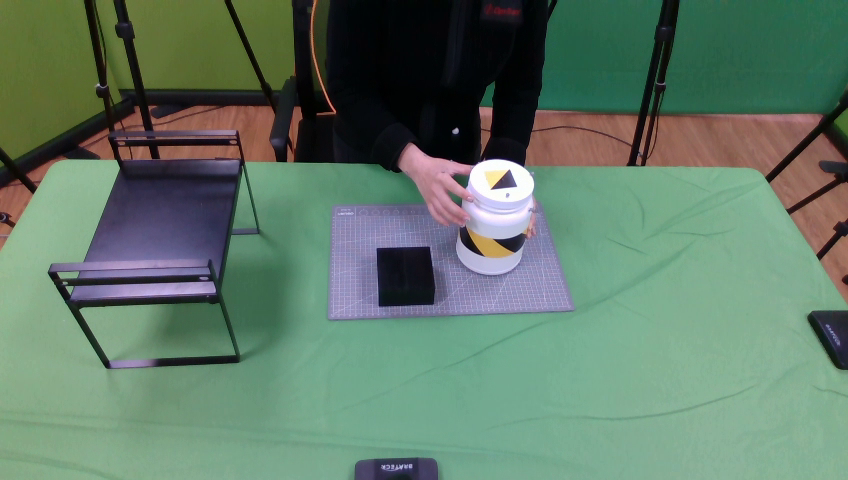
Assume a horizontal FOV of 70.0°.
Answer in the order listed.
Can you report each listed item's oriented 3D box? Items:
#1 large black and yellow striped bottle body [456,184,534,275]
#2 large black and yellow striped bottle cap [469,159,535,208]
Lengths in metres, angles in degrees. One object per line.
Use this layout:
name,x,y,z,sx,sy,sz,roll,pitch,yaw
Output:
large black and yellow striped bottle body,0.132,-0.039,1.126,0.131,0.185,0.130,2,46,-2
large black and yellow striped bottle cap,0.137,-0.100,1.062,0.115,0.019,0.114,3,45,-3
